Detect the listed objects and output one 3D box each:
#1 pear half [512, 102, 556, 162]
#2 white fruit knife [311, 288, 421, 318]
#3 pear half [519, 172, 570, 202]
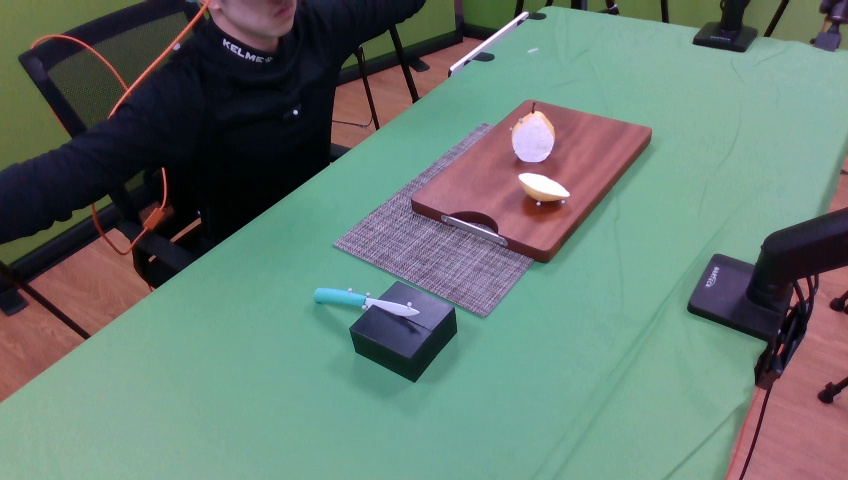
[{"bbox_3d":[0.193,-0.197,1.060,0.076,0.110,0.056,3,41,6],"label":"pear half"},{"bbox_3d":[-0.084,0.086,0.831,0.206,0.027,0.016,5,31,38],"label":"white fruit knife"},{"bbox_3d":[0.193,-0.080,0.981,0.087,0.031,0.071,35,38,22],"label":"pear half"}]
